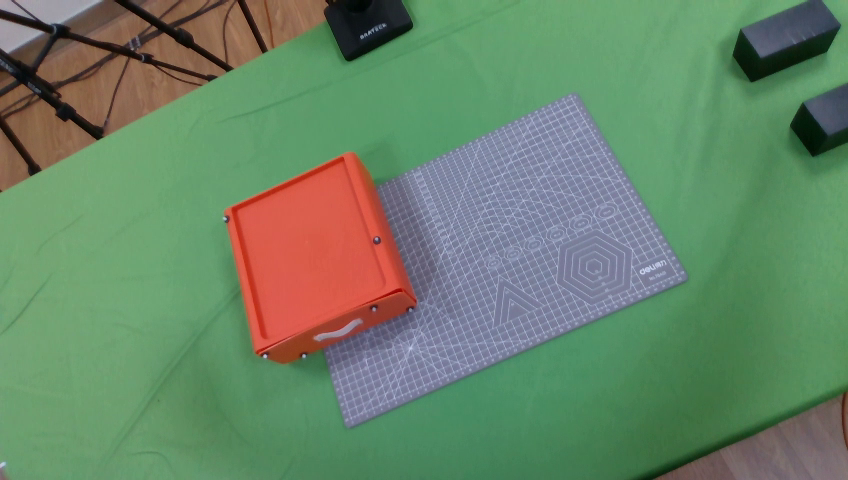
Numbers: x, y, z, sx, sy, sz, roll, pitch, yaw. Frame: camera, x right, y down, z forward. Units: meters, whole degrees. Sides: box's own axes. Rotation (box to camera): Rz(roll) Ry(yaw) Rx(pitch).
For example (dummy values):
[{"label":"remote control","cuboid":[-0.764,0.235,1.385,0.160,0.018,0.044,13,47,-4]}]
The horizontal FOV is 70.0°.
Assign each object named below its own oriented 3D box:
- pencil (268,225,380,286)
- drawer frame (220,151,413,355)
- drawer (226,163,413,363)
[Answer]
[{"label":"pencil","cuboid":[-0.137,0.021,0.819,0.193,0.012,0.012,25,78,22]},{"label":"drawer frame","cuboid":[-0.145,0.023,0.795,0.201,0.083,0.211,-25,64,6]},{"label":"drawer","cuboid":[-0.141,0.028,0.794,0.194,0.074,0.210,-24,64,6]}]
